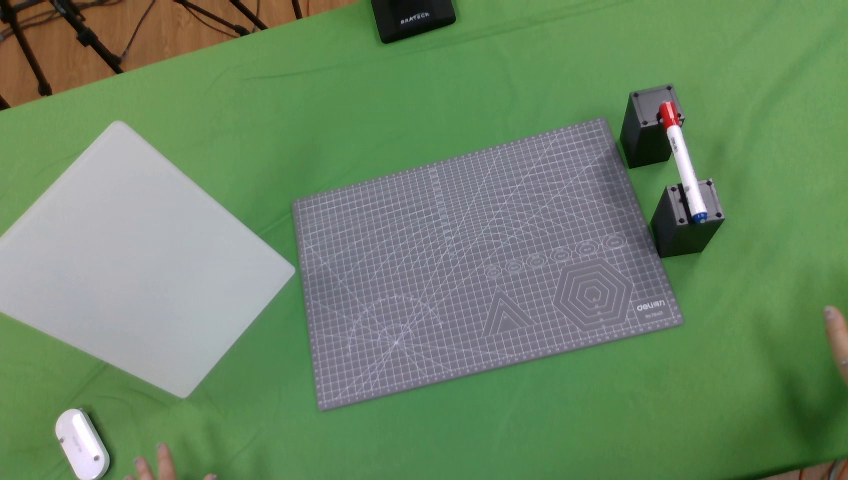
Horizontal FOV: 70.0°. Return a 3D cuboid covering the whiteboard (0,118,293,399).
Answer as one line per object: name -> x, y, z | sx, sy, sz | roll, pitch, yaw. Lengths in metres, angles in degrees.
whiteboard -> -0.349, 0.016, 0.725 | 0.142, 0.309, 0.217 | 30, 76, 40

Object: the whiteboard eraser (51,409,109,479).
whiteboard eraser -> -0.437, 0.258, 0.765 | 0.041, 0.019, 0.100 | -40, 68, -8

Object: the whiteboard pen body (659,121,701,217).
whiteboard pen body -> 0.280, -0.089, 0.671 | 0.017, 0.017, 0.139 | -10, 67, 6

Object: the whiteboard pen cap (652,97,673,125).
whiteboard pen cap -> 0.273, -0.145, 0.692 | 0.017, 0.017, 0.032 | -8, 69, 7
